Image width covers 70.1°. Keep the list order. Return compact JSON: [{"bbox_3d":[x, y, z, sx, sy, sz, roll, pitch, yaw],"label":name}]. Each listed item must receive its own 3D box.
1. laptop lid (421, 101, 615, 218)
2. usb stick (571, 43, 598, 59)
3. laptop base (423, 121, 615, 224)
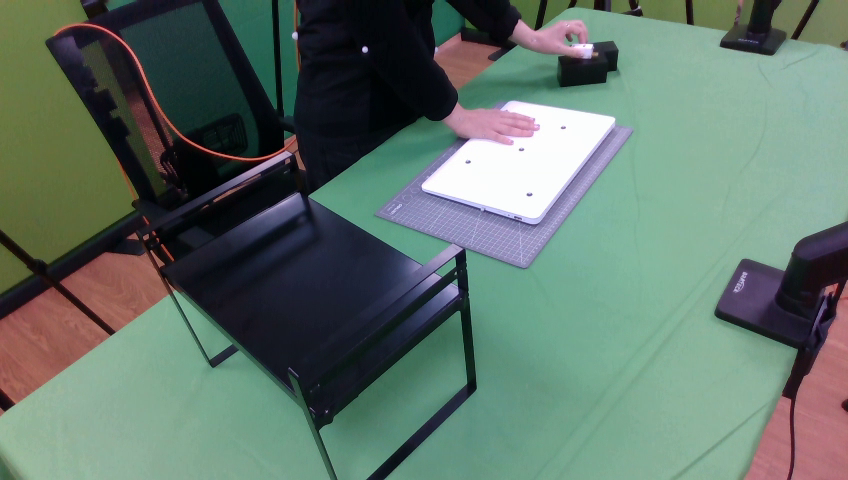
[{"bbox_3d":[0.182,-0.166,1.127,0.240,0.013,0.357,19,47,31],"label":"laptop lid"},{"bbox_3d":[0.352,-0.413,1.322,0.059,0.027,0.021,14,46,19],"label":"usb stick"},{"bbox_3d":[0.185,-0.157,1.133,0.234,0.023,0.355,17,46,30],"label":"laptop base"}]
